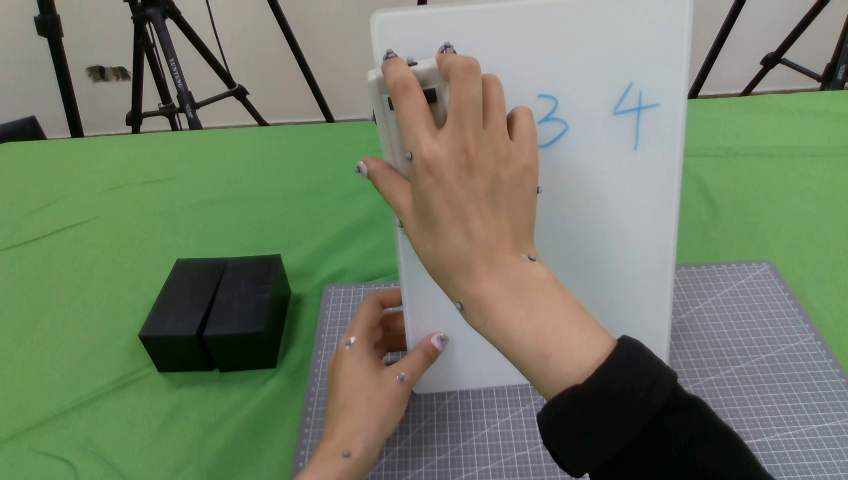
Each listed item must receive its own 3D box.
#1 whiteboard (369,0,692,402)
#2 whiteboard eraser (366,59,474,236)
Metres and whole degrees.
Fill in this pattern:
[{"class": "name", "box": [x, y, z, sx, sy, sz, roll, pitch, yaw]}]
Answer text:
[{"class": "whiteboard", "box": [0.083, -0.041, 0.514, 0.217, 0.307, 0.143, -5, 21, 1]}, {"class": "whiteboard eraser", "box": [-0.001, -0.061, 0.411, 0.055, 0.113, 0.041, -11, 21, 1]}]
